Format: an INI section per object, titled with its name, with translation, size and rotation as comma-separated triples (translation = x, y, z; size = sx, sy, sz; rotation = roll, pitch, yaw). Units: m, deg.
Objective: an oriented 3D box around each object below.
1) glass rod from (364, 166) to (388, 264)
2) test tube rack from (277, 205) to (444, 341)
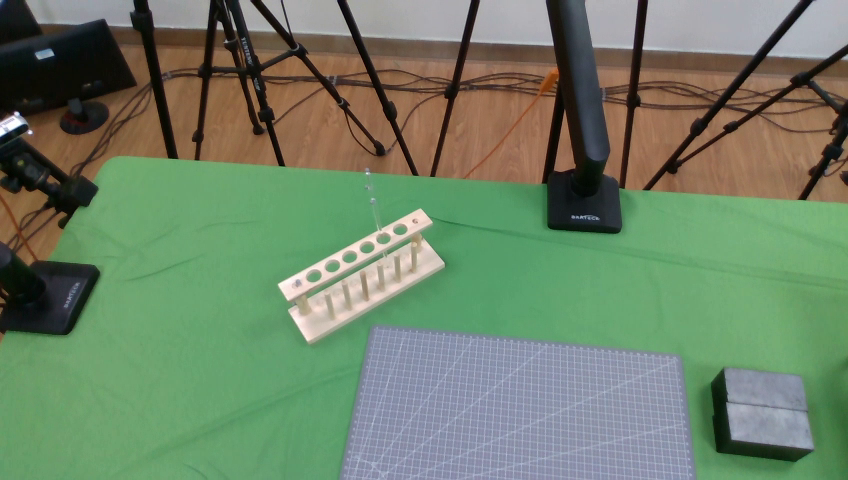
[glass rod]
translation = -0.069, -0.030, 0.881
size = 0.008, 0.201, 0.008
rotation = -3, 48, 4
[test tube rack]
translation = -0.088, 0.047, 0.907
size = 0.242, 0.086, 0.066
rotation = -29, 58, -18
